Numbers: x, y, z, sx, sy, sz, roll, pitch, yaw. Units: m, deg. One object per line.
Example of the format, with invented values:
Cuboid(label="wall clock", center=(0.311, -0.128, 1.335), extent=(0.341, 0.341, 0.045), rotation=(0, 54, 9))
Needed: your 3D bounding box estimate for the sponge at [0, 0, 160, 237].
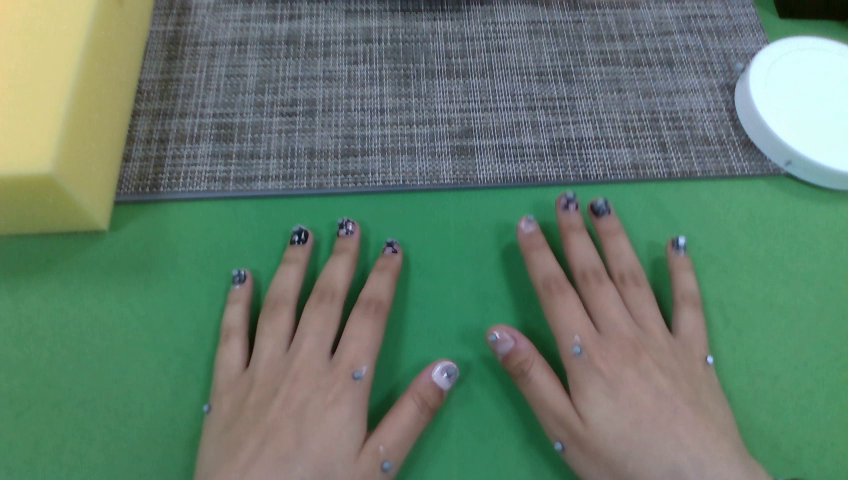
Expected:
Cuboid(label="sponge", center=(-0.244, -0.104, 0.368), extent=(0.118, 0.061, 0.205), rotation=(-4, 61, -2))

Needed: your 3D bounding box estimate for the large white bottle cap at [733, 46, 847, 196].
Cuboid(label="large white bottle cap", center=(0.263, -0.081, 0.398), extent=(0.115, 0.018, 0.114), rotation=(2, 62, -3))
